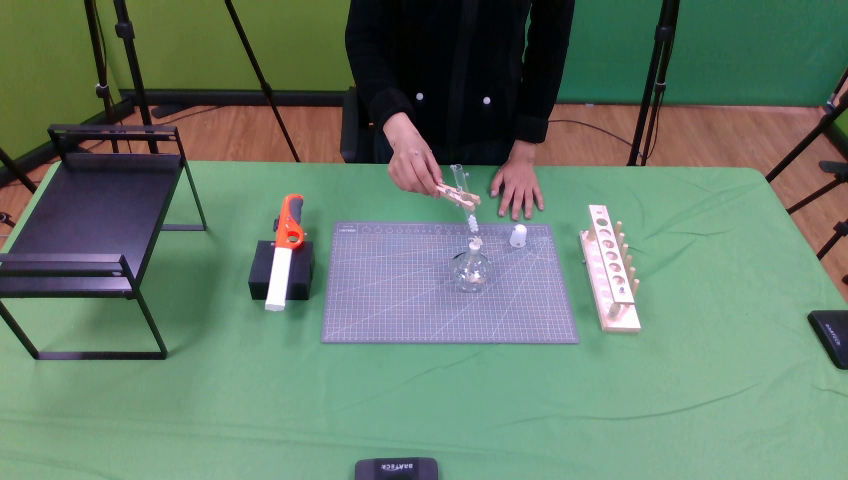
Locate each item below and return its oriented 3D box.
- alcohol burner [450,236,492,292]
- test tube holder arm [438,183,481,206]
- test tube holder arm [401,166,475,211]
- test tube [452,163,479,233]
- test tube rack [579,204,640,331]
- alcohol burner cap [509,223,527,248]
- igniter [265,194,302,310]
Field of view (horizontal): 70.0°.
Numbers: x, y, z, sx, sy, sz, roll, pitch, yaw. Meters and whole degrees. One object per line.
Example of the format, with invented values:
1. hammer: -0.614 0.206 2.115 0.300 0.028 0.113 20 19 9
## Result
1. alcohol burner: 0.087 0.038 1.101 0.078 0.119 0.077 3 45 -2
2. test tube holder arm: 0.055 -0.077 1.000 0.087 0.015 0.010 22 58 34
3. test tube holder arm: 0.020 -0.090 1.024 0.013 0.015 0.177 -42 49 -22
4. test tube: 0.069 -0.064 0.986 0.017 0.151 0.017 -10 46 10
5. test tube rack: 0.353 0.047 1.137 0.067 0.085 0.241 2 46 -2
6. alcohol burner cap: 0.189 -0.011 1.206 0.034 0.048 0.033 2 45 -1
7. igniter: -0.253 0.012 1.099 0.057 0.025 0.274 9 46 -12
